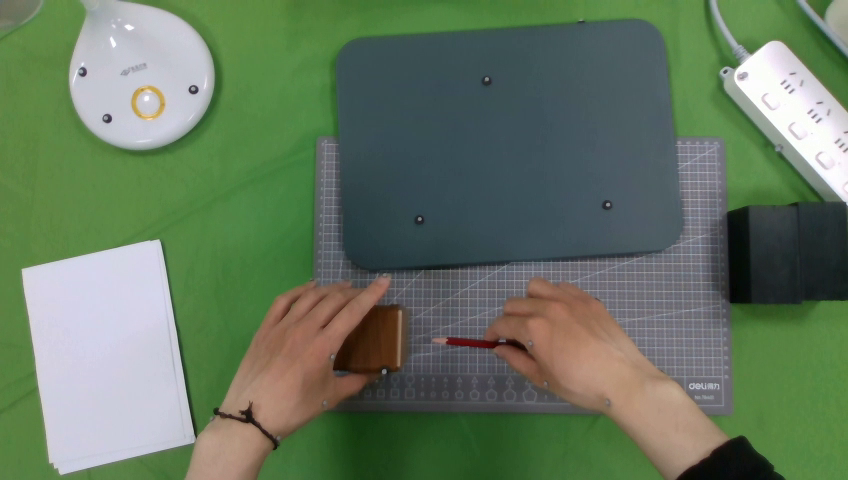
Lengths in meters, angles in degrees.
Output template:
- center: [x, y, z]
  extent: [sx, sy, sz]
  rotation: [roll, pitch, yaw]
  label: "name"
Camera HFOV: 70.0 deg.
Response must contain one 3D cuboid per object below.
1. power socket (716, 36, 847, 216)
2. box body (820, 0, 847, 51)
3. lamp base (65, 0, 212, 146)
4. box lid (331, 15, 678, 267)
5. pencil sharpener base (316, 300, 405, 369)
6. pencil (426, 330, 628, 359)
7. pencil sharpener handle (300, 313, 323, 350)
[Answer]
- center: [0.416, -0.123, 0.654]
  extent: [0.072, 0.032, 0.226]
  rotation: [-40, 85, -3]
  label: "power socket"
- center: [0.629, -0.213, 0.594]
  extent: [0.254, 0.160, 0.363]
  rotation: [-44, 86, -3]
  label: "box body"
- center: [-0.324, -0.200, 0.597]
  extent: [0.160, 0.181, 0.178]
  rotation: [-31, 82, -2]
  label: "lamp base"
- center: [0.088, -0.110, 0.668]
  extent: [0.371, 0.015, 0.262]
  rotation: [-4, 85, 1]
  label: "box lid"
- center: [-0.060, 0.091, 0.603]
  extent: [0.077, 0.107, 0.061]
  rotation: [1, 85, 2]
  label: "pencil sharpener base"
- center: [0.098, 0.097, 0.571]
  extent: [0.194, 0.012, 0.012]
  rotation: [7, 85, -4]
  label: "pencil"
- center: [-0.111, 0.092, 0.590]
  extent: [0.030, 0.068, 0.036]
  rotation: [1, 71, 2]
  label: "pencil sharpener handle"
